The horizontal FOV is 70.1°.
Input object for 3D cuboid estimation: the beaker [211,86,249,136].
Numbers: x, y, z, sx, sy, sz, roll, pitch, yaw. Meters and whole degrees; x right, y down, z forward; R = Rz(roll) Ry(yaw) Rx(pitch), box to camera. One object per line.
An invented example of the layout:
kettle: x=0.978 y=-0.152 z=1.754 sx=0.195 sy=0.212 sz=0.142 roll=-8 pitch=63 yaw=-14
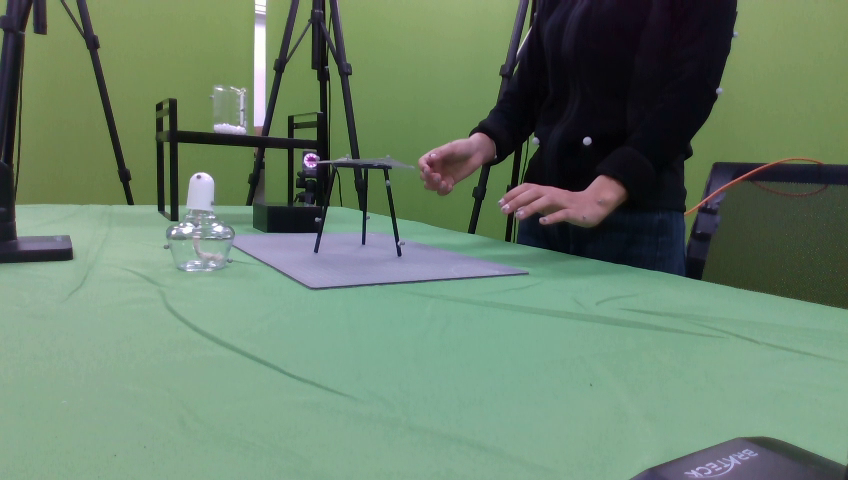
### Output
beaker: x=-0.413 y=-0.274 z=1.297 sx=0.074 sy=0.100 sz=0.083 roll=-5 pitch=11 yaw=-44

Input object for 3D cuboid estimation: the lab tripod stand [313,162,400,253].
lab tripod stand: x=-0.097 y=-0.051 z=0.906 sx=0.148 sy=0.131 sz=0.148 roll=1 pitch=6 yaw=0

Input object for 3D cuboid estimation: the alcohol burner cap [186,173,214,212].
alcohol burner cap: x=-0.268 y=-0.057 z=0.730 sx=0.034 sy=0.048 sz=0.034 roll=5 pitch=2 yaw=0

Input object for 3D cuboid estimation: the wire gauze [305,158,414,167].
wire gauze: x=-0.092 y=-0.117 z=0.894 sx=0.121 sy=0.011 sz=0.125 roll=4 pitch=7 yaw=19

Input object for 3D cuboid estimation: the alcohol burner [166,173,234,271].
alcohol burner: x=-0.271 y=-0.022 z=0.735 sx=0.078 sy=0.119 sz=0.078 roll=2 pitch=5 yaw=0
